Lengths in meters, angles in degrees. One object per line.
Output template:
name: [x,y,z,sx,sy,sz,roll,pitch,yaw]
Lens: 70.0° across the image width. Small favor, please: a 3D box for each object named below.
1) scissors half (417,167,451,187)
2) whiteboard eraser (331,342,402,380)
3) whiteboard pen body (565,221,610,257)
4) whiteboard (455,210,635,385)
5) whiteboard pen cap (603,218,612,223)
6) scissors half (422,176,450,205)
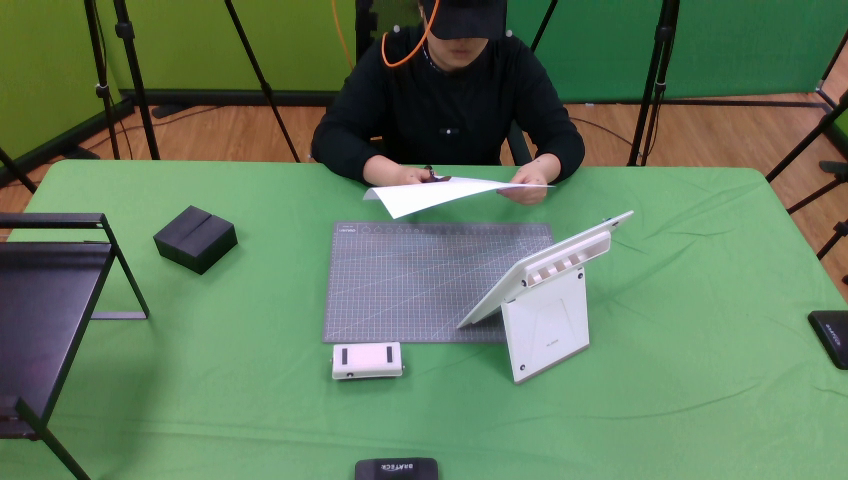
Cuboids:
scissors half: [0.018,-0.118,1.158,0.013,0.040,0.174,-19,15,-17]
whiteboard eraser: [-0.094,0.198,0.986,0.113,0.042,0.055,-2,44,-6]
whiteboard pen body: [0.335,-0.004,1.228,0.141,0.017,0.017,-33,56,-28]
whiteboard: [0.211,0.111,0.955,0.217,0.306,0.143,-21,72,-23]
whiteboard pen cap: [0.379,-0.031,1.255,0.033,0.018,0.018,-33,56,-30]
scissors half: [0.025,-0.098,1.160,0.013,0.175,0.040,-24,86,-16]
